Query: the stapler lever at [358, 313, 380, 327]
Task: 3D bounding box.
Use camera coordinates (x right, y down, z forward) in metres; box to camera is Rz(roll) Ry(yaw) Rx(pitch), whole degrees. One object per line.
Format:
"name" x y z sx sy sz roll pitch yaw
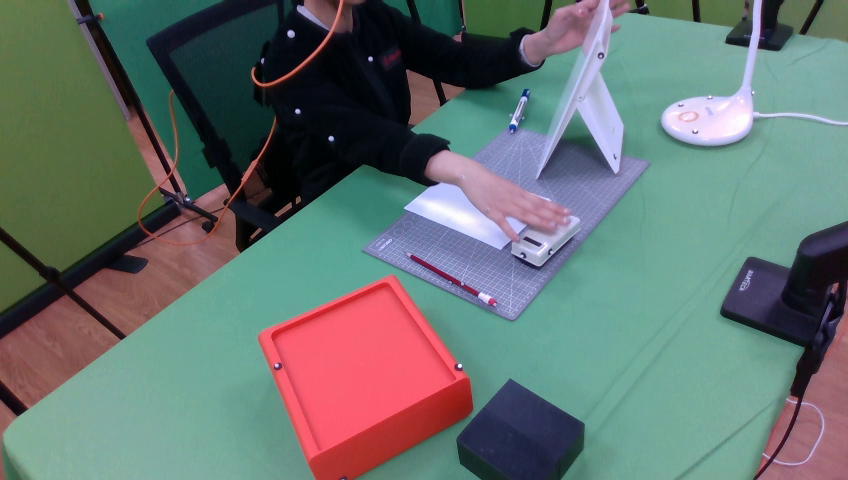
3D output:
"stapler lever" -0.106 0.127 0.792 0.118 0.040 0.026 -15 26 2

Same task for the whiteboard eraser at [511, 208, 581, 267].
"whiteboard eraser" 0.189 -0.003 0.930 0.055 0.042 0.113 25 51 38

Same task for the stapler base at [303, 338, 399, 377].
"stapler base" -0.099 0.150 0.805 0.130 0.024 0.041 -13 26 1

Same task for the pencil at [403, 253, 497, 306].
"pencil" 0.034 0.056 0.914 0.192 0.012 0.012 27 52 38

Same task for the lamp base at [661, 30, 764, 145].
"lamp base" 0.535 -0.287 1.096 0.179 0.181 0.159 -10 40 -4

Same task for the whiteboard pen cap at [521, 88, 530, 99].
"whiteboard pen cap" 0.219 -0.313 1.301 0.018 0.018 0.033 6 47 17

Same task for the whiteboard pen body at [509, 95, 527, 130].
"whiteboard pen body" 0.199 -0.273 1.261 0.017 0.017 0.140 8 45 19

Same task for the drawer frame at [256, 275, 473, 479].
"drawer frame" -0.078 0.164 0.756 0.202 0.083 0.211 -23 43 -17

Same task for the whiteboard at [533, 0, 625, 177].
"whiteboard" 0.321 -0.258 1.049 0.144 0.306 0.217 20 45 4

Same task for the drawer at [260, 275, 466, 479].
"drawer" -0.080 0.162 0.760 0.195 0.073 0.210 -22 42 -16
